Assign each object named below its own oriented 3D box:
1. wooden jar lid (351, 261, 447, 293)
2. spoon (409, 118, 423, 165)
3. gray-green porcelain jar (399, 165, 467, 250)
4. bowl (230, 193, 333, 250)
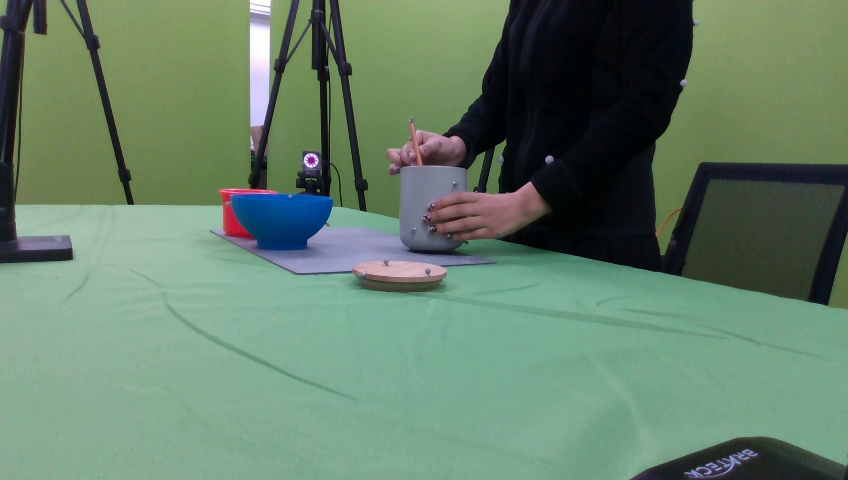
[{"bbox_3d":[-0.028,0.042,0.687,0.108,0.020,0.108,3,8,0],"label":"wooden jar lid"},{"bbox_3d":[-0.009,-0.101,0.943,0.021,0.193,0.041,-4,-15,2],"label":"spoon"},{"bbox_3d":[0.014,-0.049,0.940,0.106,0.126,0.106,1,2,0],"label":"gray-green porcelain jar"},{"bbox_3d":[-0.214,-0.028,0.912,0.151,0.077,0.151,2,8,0],"label":"bowl"}]
